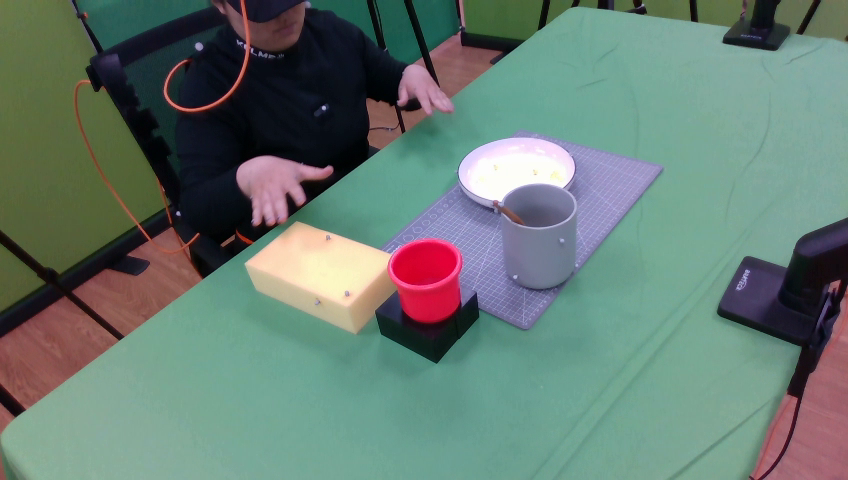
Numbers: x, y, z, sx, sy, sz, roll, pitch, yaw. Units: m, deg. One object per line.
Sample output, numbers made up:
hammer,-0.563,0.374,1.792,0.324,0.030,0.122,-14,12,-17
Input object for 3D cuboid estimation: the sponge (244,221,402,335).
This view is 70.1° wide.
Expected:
sponge,-0.153,0.052,0.919,0.205,0.061,0.118,18,47,28

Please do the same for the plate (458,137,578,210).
plate,0.165,-0.113,1.068,0.207,0.039,0.206,-5,40,5

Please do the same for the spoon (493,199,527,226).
spoon,0.135,-0.016,0.831,0.021,0.195,0.041,-49,53,-1

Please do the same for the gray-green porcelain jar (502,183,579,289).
gray-green porcelain jar,0.166,-0.001,0.866,0.106,0.127,0.105,-5,40,5
